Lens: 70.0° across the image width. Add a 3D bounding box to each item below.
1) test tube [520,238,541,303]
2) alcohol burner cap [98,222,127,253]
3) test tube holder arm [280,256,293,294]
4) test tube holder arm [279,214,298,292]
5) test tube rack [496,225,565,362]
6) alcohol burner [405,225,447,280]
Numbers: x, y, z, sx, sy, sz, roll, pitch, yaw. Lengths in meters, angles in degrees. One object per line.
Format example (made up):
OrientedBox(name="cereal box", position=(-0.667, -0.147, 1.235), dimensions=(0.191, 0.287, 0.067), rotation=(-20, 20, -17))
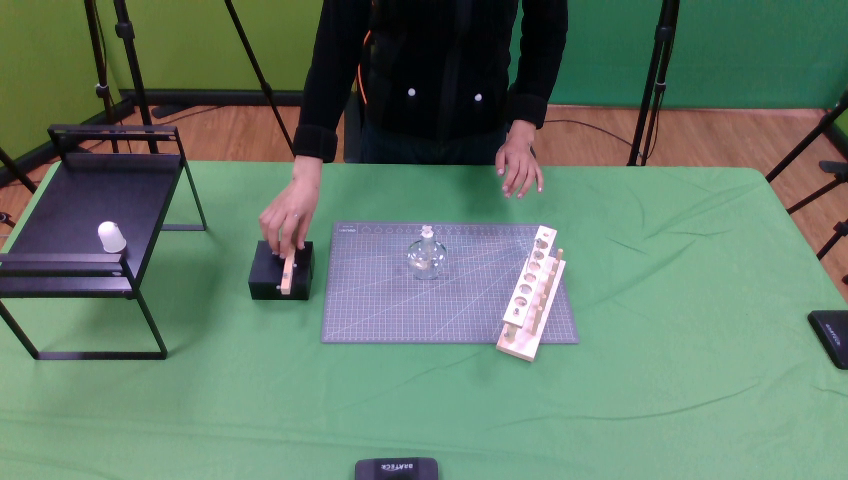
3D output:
OrientedBox(name="test tube", position=(0.182, 0.056, 1.042), dimensions=(0.017, 0.151, 0.017), rotation=(1, 44, -1))
OrientedBox(name="alcohol burner cap", position=(-0.468, -0.007, 0.904), dimensions=(0.034, 0.048, 0.033), rotation=(3, 45, -3))
OrientedBox(name="test tube holder arm", position=(-0.241, 0.057, 1.062), dimensions=(0.015, 0.010, 0.087), rotation=(7, 49, -11))
OrientedBox(name="test tube holder arm", position=(-0.241, 0.019, 1.087), dimensions=(0.015, 0.013, 0.177), rotation=(7, 49, -11))
OrientedBox(name="test tube rack", position=(0.200, 0.089, 1.080), dimensions=(0.066, 0.085, 0.241), rotation=(19, 48, 13))
OrientedBox(name="alcohol burner", position=(0.004, 0.017, 1.115), dimensions=(0.078, 0.120, 0.077), rotation=(1, 47, -1))
